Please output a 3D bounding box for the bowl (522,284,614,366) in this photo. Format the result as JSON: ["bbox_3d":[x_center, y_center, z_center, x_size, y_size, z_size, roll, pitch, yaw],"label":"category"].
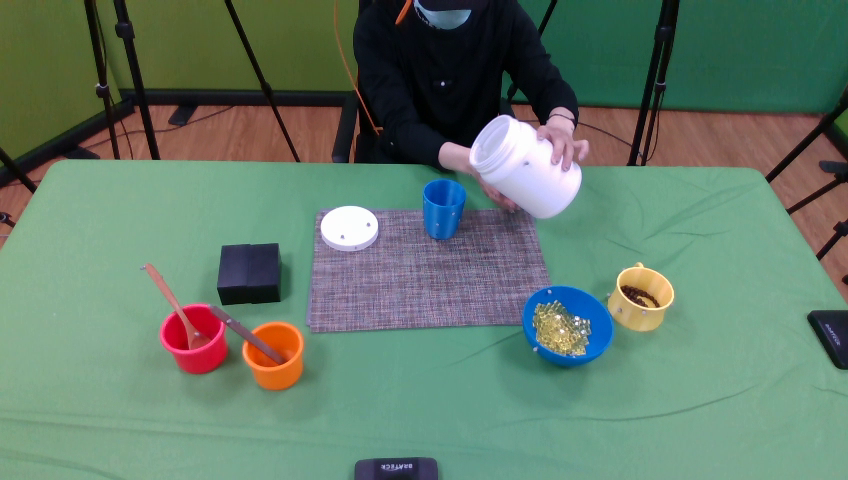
[{"bbox_3d":[0.235,0.158,1.022,0.151,0.077,0.150,2,46,-2],"label":"bowl"}]

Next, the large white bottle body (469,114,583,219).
[{"bbox_3d":[0.187,-0.136,1.122,0.185,0.130,0.130,32,40,-24],"label":"large white bottle body"}]

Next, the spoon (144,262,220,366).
[{"bbox_3d":[-0.389,0.118,0.971,0.041,0.021,0.194,-34,101,-33],"label":"spoon"}]

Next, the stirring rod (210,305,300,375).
[{"bbox_3d":[-0.262,0.158,0.946,0.177,0.006,0.014,43,43,-21],"label":"stirring rod"}]

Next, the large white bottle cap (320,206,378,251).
[{"bbox_3d":[-0.150,-0.024,1.207,0.115,0.018,0.114,2,46,-2],"label":"large white bottle cap"}]

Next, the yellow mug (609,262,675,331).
[{"bbox_3d":[0.393,0.093,1.103,0.100,0.064,0.130,7,45,3],"label":"yellow mug"}]

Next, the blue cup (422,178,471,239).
[{"bbox_3d":[0.035,-0.056,1.192,0.093,0.101,0.092,3,45,-3],"label":"blue cup"}]
